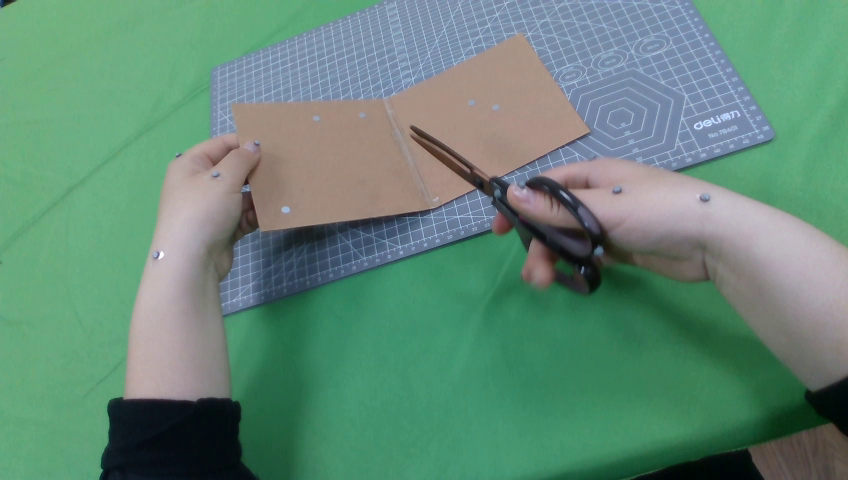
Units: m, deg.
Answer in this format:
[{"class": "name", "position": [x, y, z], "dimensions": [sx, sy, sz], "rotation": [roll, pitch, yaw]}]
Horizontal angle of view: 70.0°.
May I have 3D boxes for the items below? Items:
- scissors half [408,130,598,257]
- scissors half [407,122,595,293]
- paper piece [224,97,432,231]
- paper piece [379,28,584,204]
[{"class": "scissors half", "position": [0.040, -0.040, 0.378], "dimensions": [0.013, 0.040, 0.173], "rotation": [-35, 43, -18]}, {"class": "scissors half", "position": [0.043, -0.027, 0.395], "dimensions": [0.013, 0.040, 0.174], "rotation": [-38, 67, -14]}, {"class": "paper piece", "position": [-0.080, -0.069, 0.486], "dimensions": [0.139, 0.009, 0.134], "rotation": [-9, 53, -20]}, {"class": "paper piece", "position": [0.042, -0.109, 0.506], "dimensions": [0.135, 0.004, 0.134], "rotation": [-26, 58, 4]}]
